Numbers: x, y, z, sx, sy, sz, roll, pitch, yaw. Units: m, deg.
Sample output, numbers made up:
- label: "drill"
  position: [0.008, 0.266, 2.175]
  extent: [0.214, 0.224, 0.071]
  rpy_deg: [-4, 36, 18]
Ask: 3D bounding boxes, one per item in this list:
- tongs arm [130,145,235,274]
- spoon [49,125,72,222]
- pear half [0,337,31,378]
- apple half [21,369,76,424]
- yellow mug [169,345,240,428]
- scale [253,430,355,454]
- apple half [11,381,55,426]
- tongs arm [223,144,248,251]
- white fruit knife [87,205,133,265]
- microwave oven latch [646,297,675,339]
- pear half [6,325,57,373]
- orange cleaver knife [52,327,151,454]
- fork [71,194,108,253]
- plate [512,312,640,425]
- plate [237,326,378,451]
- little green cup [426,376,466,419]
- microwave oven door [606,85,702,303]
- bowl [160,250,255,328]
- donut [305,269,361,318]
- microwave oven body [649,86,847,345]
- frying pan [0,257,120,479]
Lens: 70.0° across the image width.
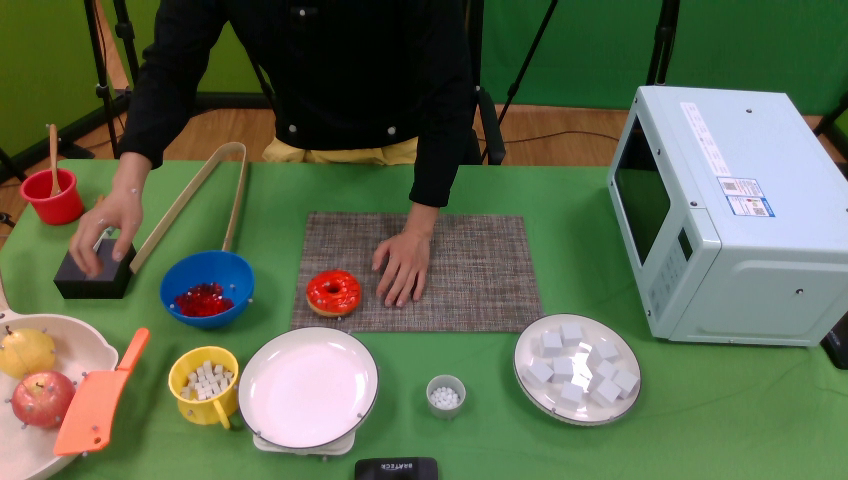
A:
- label: "tongs arm"
  position: [-0.484, -0.077, 1.235]
  extent: [0.028, 0.028, 0.385]
  rpy_deg: [6, 44, 13]
- label: "spoon"
  position: [-0.718, -0.131, 1.189]
  extent: [0.041, 0.021, 0.193]
  rpy_deg: [-4, 90, -7]
- label: "pear half"
  position: [-0.631, 0.183, 0.923]
  extent: [0.070, 0.088, 0.031]
  rpy_deg: [28, 50, 14]
- label: "apple half"
  position: [-0.546, 0.226, 0.898]
  extent: [0.080, 0.075, 0.053]
  rpy_deg: [30, 48, 27]
- label: "yellow mug"
  position: [-0.323, 0.230, 0.922]
  extent: [0.100, 0.064, 0.130]
  rpy_deg: [-24, 53, -25]
- label: "scale"
  position: [-0.175, 0.236, 0.951]
  extent: [0.149, 0.032, 0.199]
  rpy_deg: [4, 46, 0]
- label: "apple half"
  position: [-0.570, 0.246, 0.875]
  extent: [0.081, 0.081, 0.033]
  rpy_deg: [32, 49, 24]
- label: "tongs arm"
  position: [-0.398, -0.073, 1.232]
  extent: [0.051, 0.026, 0.382]
  rpy_deg: [-2, 45, 0]
- label: "white fruit knife"
  position: [-0.584, -0.013, 1.129]
  extent: [0.016, 0.027, 0.206]
  rpy_deg: [0, 32, -5]
- label: "microwave oven latch"
  position: [0.412, 0.134, 1.061]
  extent: [0.030, 0.029, 0.078]
  rpy_deg: [4, 45, 1]
- label: "pear half"
  position: [-0.607, 0.158, 0.935]
  extent: [0.076, 0.110, 0.056]
  rpy_deg: [30, 51, 19]
- label: "orange cleaver knife"
  position: [-0.462, 0.212, 0.879]
  extent: [0.077, 0.012, 0.210]
  rpy_deg: [6, 45, -1]
- label: "fork"
  position: [-0.634, -0.036, 1.158]
  extent: [0.028, 0.019, 0.206]
  rpy_deg: [-7, 31, -9]
- label: "plate"
  position: [0.246, 0.213, 0.999]
  extent: [0.208, 0.039, 0.206]
  rpy_deg: [2, 46, -2]
- label: "plate"
  position: [-0.174, 0.224, 0.917]
  extent: [0.209, 0.038, 0.208]
  rpy_deg: [2, 46, -2]
- label: "little green cup"
  position: [0.033, 0.248, 0.950]
  extent: [0.061, 0.039, 0.061]
  rpy_deg: [2, 46, -2]
- label: "microwave oven door"
  position: [0.422, -0.094, 1.140]
  extent: [0.039, 0.245, 0.353]
  rpy_deg: [2, 46, -1]
- label: "bowl"
  position: [-0.362, 0.097, 1.040]
  extent: [0.151, 0.077, 0.150]
  rpy_deg: [2, 45, -2]
- label: "donut"
  position: [-0.160, 0.094, 1.075]
  extent: [0.099, 0.048, 0.098]
  rpy_deg: [4, 45, -4]
- label: "microwave oven body"
  position: [0.567, -0.053, 1.118]
  extent: [0.326, 0.261, 0.439]
  rpy_deg: [2, 45, -1]
- label: "frying pan"
  position: [-0.647, 0.164, 0.936]
  extent: [0.307, 0.103, 0.485]
  rpy_deg: [-19, 58, -22]
